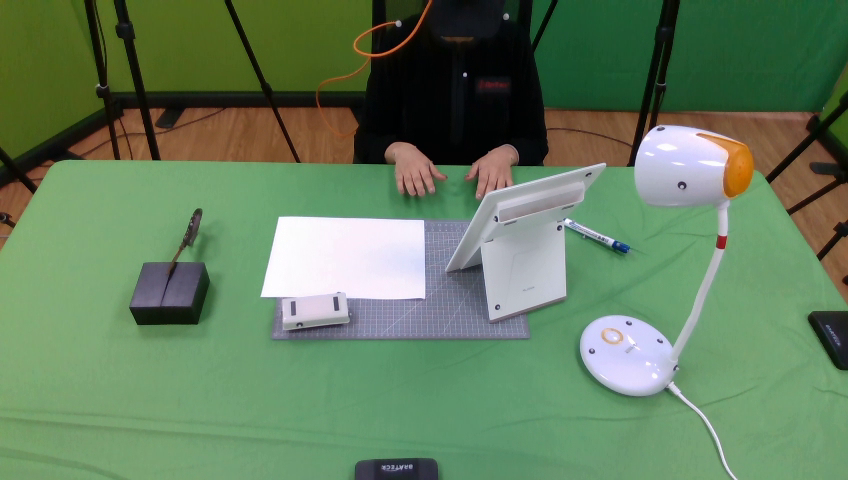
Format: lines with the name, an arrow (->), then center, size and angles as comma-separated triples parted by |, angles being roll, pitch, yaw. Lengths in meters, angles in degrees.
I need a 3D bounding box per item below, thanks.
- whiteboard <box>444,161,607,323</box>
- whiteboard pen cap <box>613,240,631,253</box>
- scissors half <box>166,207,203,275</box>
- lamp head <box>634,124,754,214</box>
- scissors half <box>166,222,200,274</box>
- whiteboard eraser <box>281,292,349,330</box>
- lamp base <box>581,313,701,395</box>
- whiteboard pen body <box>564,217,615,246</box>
whiteboard -> 0.186, 0.025, 1.029 | 0.217, 0.306, 0.143 | -14, 68, -18
whiteboard pen cap -> 0.393, 0.012, 1.207 | 0.033, 0.018, 0.018 | 27, 50, 28
scissors half -> -0.436, 0.000, 1.104 | 0.013, 0.040, 0.174 | 21, 44, -14
lamp head -> 0.351, -0.089, 0.775 | 0.112, 0.113, 0.122 | -30, 30, -28
scissors half -> -0.444, 0.014, 1.116 | 0.013, 0.040, 0.174 | 17, 27, -11
whiteboard eraser -> -0.189, 0.124, 1.045 | 0.113, 0.042, 0.055 | -6, 46, -10
lamp base -> 0.361, 0.144, 0.972 | 0.178, 0.181, 0.160 | 34, 53, 23
whiteboard pen body -> 0.346, -0.013, 1.233 | 0.140, 0.017, 0.017 | 28, 51, 26
